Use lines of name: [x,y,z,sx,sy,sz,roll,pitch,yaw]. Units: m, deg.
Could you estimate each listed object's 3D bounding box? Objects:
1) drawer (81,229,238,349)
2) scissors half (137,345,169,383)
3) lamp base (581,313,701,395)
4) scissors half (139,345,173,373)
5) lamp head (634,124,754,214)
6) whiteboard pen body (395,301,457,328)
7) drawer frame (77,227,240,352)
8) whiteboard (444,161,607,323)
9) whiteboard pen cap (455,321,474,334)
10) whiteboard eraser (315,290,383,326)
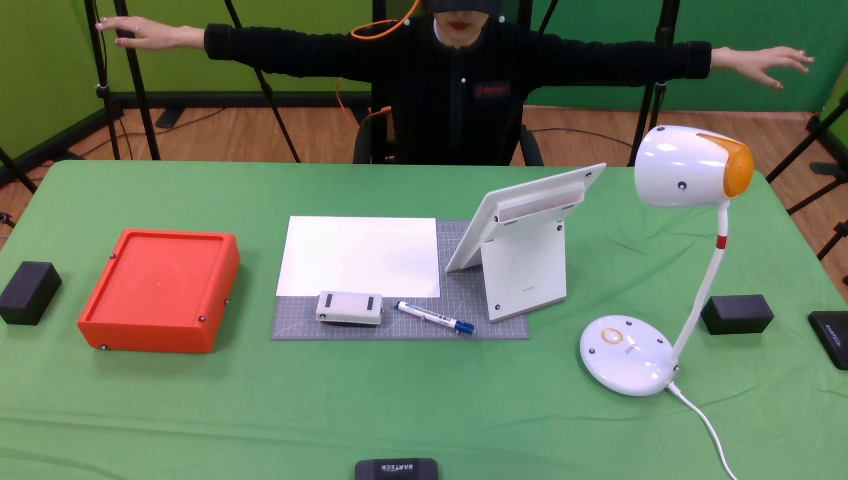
drawer: [-0.445,0.080,1.046,0.194,0.073,0.210,3,47,-2]
scissors half: [-0.479,0.171,0.997,0.175,0.040,0.013,48,46,-3]
lamp base: [0.361,0.144,0.972,0.178,0.181,0.160,34,53,23]
scissors half: [-0.475,0.164,0.987,0.175,0.040,0.013,35,52,9]
lamp head: [0.351,-0.089,0.776,0.112,0.113,0.122,-30,30,-28]
whiteboard pen body: [0.015,0.134,1.064,0.140,0.017,0.017,17,47,16]
drawer frame: [-0.444,0.081,1.044,0.202,0.083,0.212,3,47,-3]
whiteboard: [0.186,0.025,1.029,0.217,0.306,0.143,-14,68,-18]
whiteboard pen cap: [0.069,0.151,1.046,0.033,0.018,0.018,15,47,16]
whiteboard eraser: [-0.130,0.120,1.054,0.113,0.042,0.055,4,47,0]
